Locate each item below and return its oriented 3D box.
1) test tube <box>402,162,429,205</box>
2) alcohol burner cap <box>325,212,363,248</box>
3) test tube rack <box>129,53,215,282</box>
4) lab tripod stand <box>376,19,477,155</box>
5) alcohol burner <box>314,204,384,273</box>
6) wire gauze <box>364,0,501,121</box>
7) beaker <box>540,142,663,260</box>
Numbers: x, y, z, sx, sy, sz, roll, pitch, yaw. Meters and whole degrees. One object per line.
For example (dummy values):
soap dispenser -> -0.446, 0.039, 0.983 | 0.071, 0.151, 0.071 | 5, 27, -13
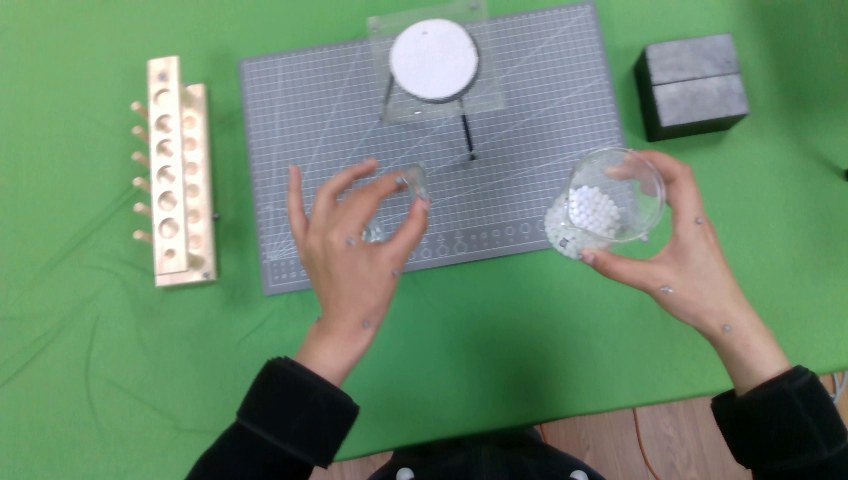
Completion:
test tube -> -0.005, -0.044, 0.502 | 0.017, 0.150, 0.017 | 0, 87, 2
alcohol burner cap -> -0.084, -0.011, 0.622 | 0.034, 0.048, 0.033 | -1, 77, 7
test tube rack -> -0.294, -0.079, 0.693 | 0.067, 0.085, 0.241 | -7, 80, 0
lab tripod stand -> 0.012, -0.175, 0.674 | 0.148, 0.132, 0.147 | -1, 78, 3
alcohol burner -> -0.084, -0.005, 0.657 | 0.078, 0.119, 0.077 | 0, 79, 0
wire gauze -> 0.007, -0.182, 0.607 | 0.125, 0.011, 0.121 | -9, 80, 0
beaker -> 0.137, -0.024, 0.497 | 0.084, 0.100, 0.073 | -32, 80, -8
